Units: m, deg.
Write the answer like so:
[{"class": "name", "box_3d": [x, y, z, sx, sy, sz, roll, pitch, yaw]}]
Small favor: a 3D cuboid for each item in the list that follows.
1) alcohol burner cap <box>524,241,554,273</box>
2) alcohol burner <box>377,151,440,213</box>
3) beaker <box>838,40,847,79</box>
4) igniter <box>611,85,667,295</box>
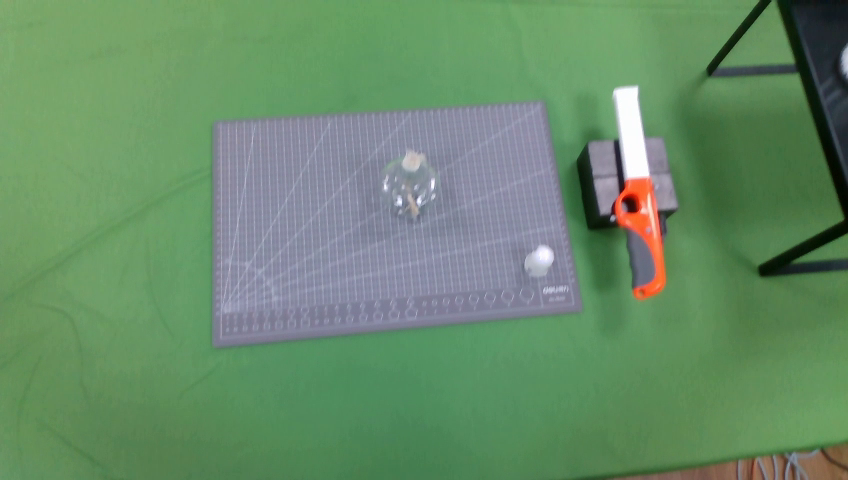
[{"class": "alcohol burner cap", "box_3d": [0.144, 0.019, 0.751, 0.034, 0.048, 0.033, 1, 71, -3]}, {"class": "alcohol burner", "box_3d": [-0.018, -0.078, 0.735, 0.078, 0.119, 0.077, 2, 72, -5]}, {"class": "beaker", "box_3d": [0.494, -0.209, 0.631, 0.084, 0.101, 0.073, -18, 73, -8]}, {"class": "igniter", "box_3d": [0.262, -0.067, 0.748, 0.057, 0.025, 0.274, -3, 71, 8]}]
